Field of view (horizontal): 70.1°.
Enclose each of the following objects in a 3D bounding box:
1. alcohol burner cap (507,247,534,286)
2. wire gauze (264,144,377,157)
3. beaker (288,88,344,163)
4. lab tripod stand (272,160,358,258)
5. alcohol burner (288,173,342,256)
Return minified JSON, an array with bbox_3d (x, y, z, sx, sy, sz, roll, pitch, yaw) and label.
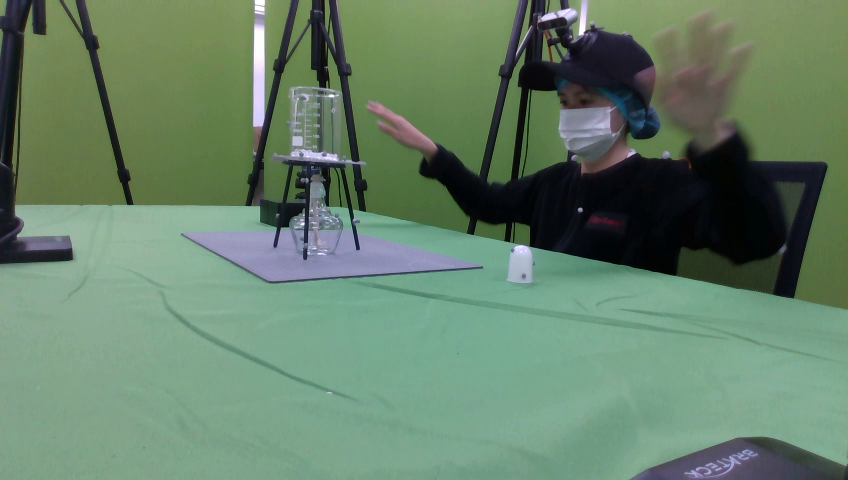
[{"bbox_3d":[0.119,0.032,0.740,0.034,0.048,0.034,2,6,0],"label":"alcohol burner cap"},{"bbox_3d":[-0.151,-0.128,0.869,0.122,0.011,0.124,-5,5,-35],"label":"wire gauze"},{"bbox_3d":[-0.158,-0.160,0.859,0.084,0.100,0.074,5,6,20],"label":"beaker"},{"bbox_3d":[-0.159,-0.048,0.876,0.148,0.131,0.148,3,5,0],"label":"lab tripod stand"},{"bbox_3d":[-0.157,-0.037,0.871,0.078,0.119,0.078,1,6,0],"label":"alcohol burner"}]
